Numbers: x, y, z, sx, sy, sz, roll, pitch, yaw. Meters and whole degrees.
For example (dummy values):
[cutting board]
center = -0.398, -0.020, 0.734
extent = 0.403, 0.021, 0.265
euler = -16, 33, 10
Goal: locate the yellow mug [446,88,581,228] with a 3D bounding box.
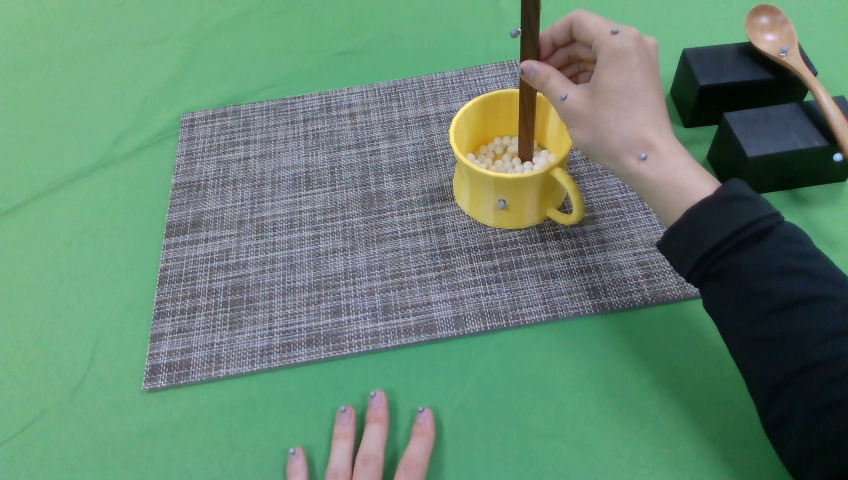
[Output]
[yellow mug]
center = 0.079, -0.059, 0.495
extent = 0.100, 0.064, 0.129
euler = -35, 59, -19

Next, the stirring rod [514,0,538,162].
[stirring rod]
center = 0.077, -0.123, 0.464
extent = 0.014, 0.178, 0.006
euler = 14, 56, 17

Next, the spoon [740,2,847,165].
[spoon]
center = 0.308, -0.125, 0.489
extent = 0.041, 0.022, 0.191
euler = -9, 56, -1
